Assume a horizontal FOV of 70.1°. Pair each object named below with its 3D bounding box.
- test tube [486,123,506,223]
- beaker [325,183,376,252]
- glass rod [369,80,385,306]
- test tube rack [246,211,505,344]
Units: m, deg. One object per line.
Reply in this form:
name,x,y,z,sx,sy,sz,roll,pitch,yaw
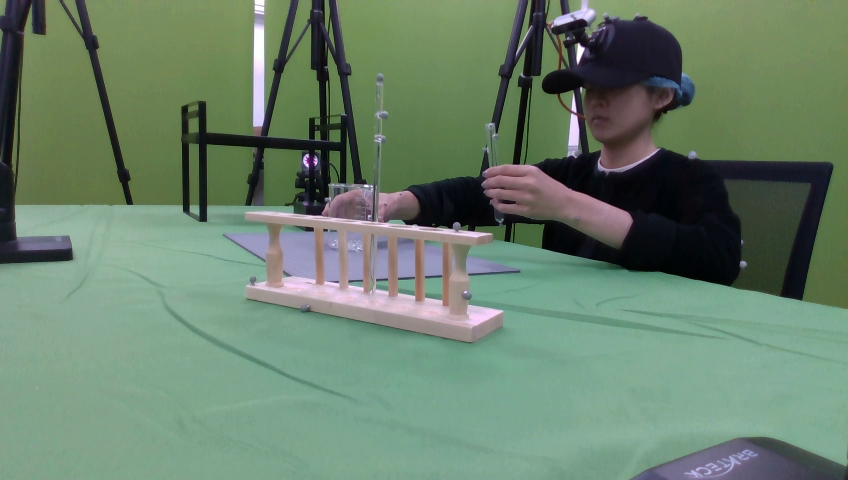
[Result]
test tube,0.107,-0.099,0.904,0.017,0.150,0.017,-7,7,1
beaker,-0.110,-0.034,0.920,0.083,0.100,0.074,11,11,43
glass rod,-0.041,-0.039,0.530,0.008,0.199,0.008,3,2,0
test tube rack,-0.049,0.025,0.547,0.241,0.085,0.067,7,8,29
